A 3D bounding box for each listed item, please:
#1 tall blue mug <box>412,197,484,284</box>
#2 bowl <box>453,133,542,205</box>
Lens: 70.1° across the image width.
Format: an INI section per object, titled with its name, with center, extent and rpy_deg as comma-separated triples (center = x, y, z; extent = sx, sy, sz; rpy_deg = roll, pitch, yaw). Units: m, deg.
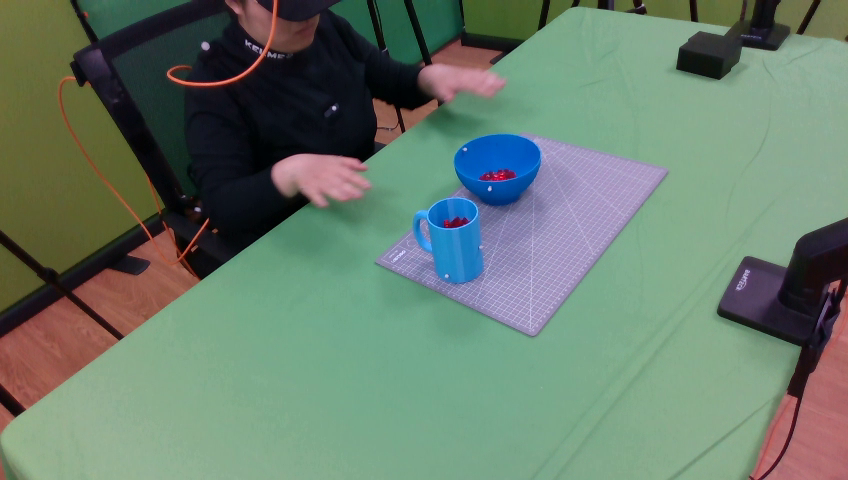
[tall blue mug]
center = 0.033, 0.002, 0.903
extent = 0.107, 0.108, 0.077
rpy_deg = -3, 41, 9
[bowl]
center = 0.129, -0.113, 1.045
extent = 0.151, 0.077, 0.150
rpy_deg = -5, 40, 5
